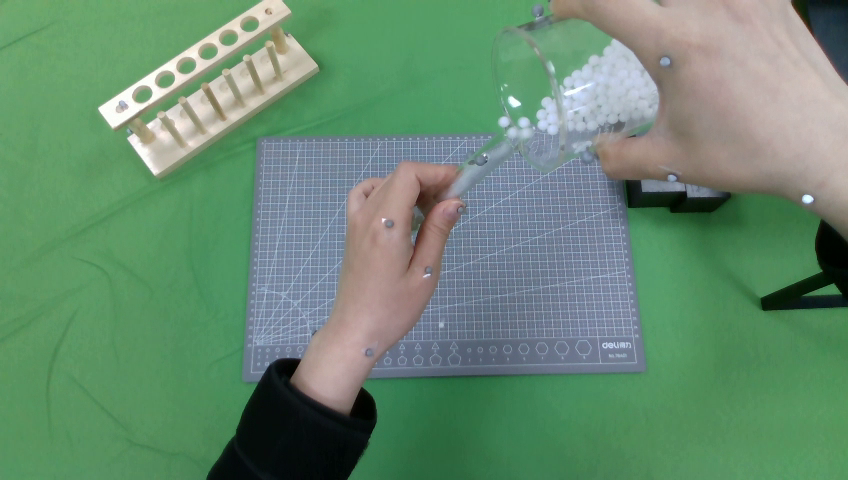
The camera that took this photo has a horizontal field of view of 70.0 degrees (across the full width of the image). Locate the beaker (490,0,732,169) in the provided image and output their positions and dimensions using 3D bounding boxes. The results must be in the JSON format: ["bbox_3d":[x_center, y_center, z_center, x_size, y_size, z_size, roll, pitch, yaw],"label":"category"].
[{"bbox_3d":[0.094,-0.086,0.311,0.100,0.084,0.073,-22,77,-9],"label":"beaker"}]

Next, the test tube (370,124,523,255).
[{"bbox_3d":[0.008,-0.027,0.391,0.017,0.150,0.017,21,51,-29],"label":"test tube"}]

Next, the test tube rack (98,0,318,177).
[{"bbox_3d":[-0.251,-0.186,0.730,0.242,0.085,0.066,-38,77,-11],"label":"test tube rack"}]
